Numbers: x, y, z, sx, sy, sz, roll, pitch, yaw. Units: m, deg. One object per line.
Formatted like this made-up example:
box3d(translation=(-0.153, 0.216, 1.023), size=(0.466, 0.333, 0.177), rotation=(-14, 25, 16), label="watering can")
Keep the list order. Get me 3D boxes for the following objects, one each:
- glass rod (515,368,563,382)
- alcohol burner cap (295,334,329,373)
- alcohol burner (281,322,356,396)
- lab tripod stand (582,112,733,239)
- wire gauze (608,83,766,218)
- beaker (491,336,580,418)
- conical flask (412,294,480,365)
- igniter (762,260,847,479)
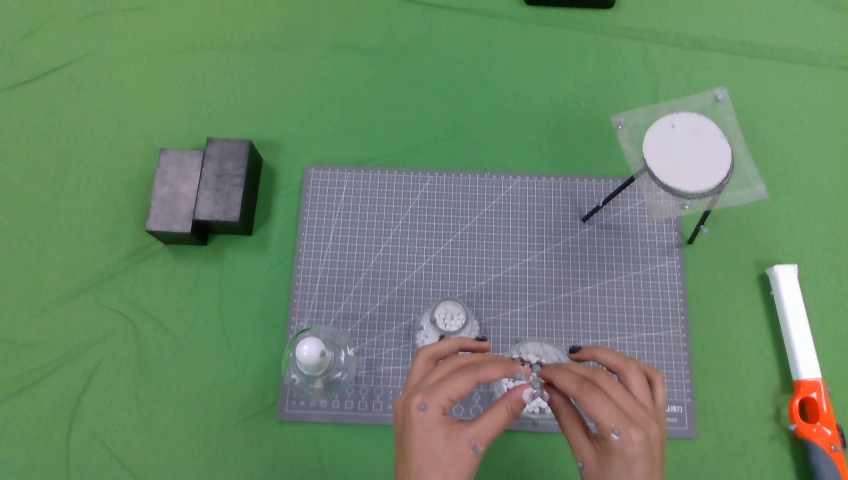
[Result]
box3d(translation=(0.097, 0.110, 0.490), size=(0.008, 0.201, 0.008), rotation=(-5, 75, 19), label="glass rod")
box3d(translation=(-0.109, 0.106, 0.581), size=(0.034, 0.048, 0.033), rotation=(3, 66, -6), label="alcohol burner cap")
box3d(translation=(-0.109, 0.118, 0.615), size=(0.078, 0.119, 0.077), rotation=(1, 72, -1), label="alcohol burner")
box3d(translation=(0.257, -0.066, 0.660), size=(0.148, 0.132, 0.147), rotation=(0, 75, -1), label="lab tripod stand")
box3d(translation=(0.259, -0.089, 0.597), size=(0.125, 0.011, 0.121), rotation=(-13, 76, -4), label="wire gauze")
box3d(translation=(0.109, 0.140, 0.617), size=(0.084, 0.101, 0.073), rotation=(-16, 74, -5), label="beaker")
box3d(translation=(0.024, 0.085, 0.620), size=(0.075, 0.122, 0.075), rotation=(0, 73, 0), label="conical flask")
box3d(translation=(0.412, 0.157, 0.653), size=(0.057, 0.025, 0.275), rotation=(-1, 74, -11), label="igniter")
